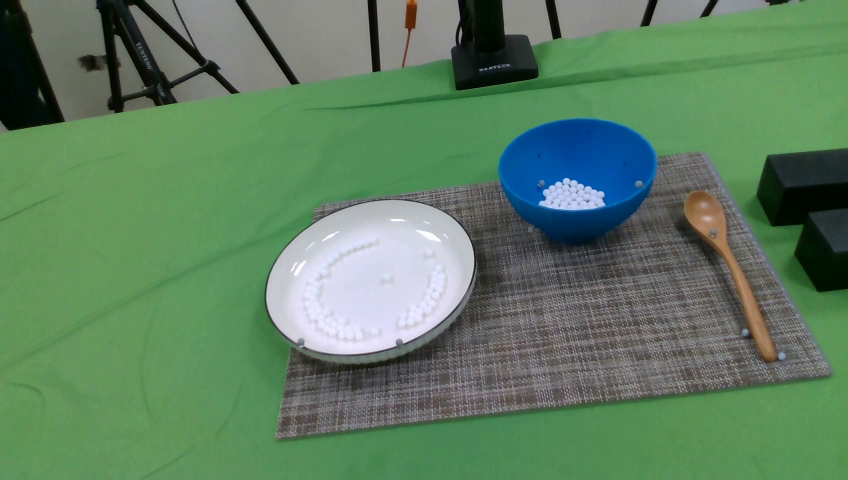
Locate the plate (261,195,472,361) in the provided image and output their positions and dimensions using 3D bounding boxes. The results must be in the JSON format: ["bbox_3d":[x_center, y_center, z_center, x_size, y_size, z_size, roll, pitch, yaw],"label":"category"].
[{"bbox_3d":[-0.054,0.037,0.598,0.207,0.039,0.205,-6,44,6],"label":"plate"}]

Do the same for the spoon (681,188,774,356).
[{"bbox_3d":[0.275,0.021,0.548,0.042,0.022,0.192,6,43,-6],"label":"spoon"}]

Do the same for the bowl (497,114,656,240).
[{"bbox_3d":[0.152,-0.054,0.613,0.151,0.077,0.150,-6,44,6],"label":"bowl"}]
